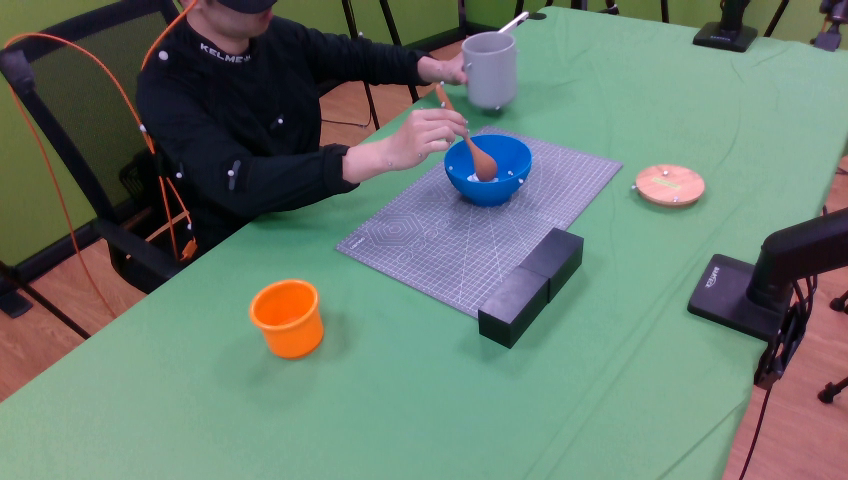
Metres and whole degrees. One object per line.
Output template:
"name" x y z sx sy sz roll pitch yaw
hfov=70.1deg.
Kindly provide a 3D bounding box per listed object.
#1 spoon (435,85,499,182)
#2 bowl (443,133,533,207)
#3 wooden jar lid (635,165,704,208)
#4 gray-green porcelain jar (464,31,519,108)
"spoon" 0.067 -0.169 0.976 0.041 0.195 0.021 -38 27 -2
"bowl" 0.111 -0.110 1.033 0.151 0.077 0.150 -4 41 4
"wooden jar lid" 0.410 -0.089 1.014 0.108 0.021 0.108 -5 42 5
"gray-green porcelain jar" 0.139 -0.342 1.227 0.106 0.127 0.105 -5 39 5
